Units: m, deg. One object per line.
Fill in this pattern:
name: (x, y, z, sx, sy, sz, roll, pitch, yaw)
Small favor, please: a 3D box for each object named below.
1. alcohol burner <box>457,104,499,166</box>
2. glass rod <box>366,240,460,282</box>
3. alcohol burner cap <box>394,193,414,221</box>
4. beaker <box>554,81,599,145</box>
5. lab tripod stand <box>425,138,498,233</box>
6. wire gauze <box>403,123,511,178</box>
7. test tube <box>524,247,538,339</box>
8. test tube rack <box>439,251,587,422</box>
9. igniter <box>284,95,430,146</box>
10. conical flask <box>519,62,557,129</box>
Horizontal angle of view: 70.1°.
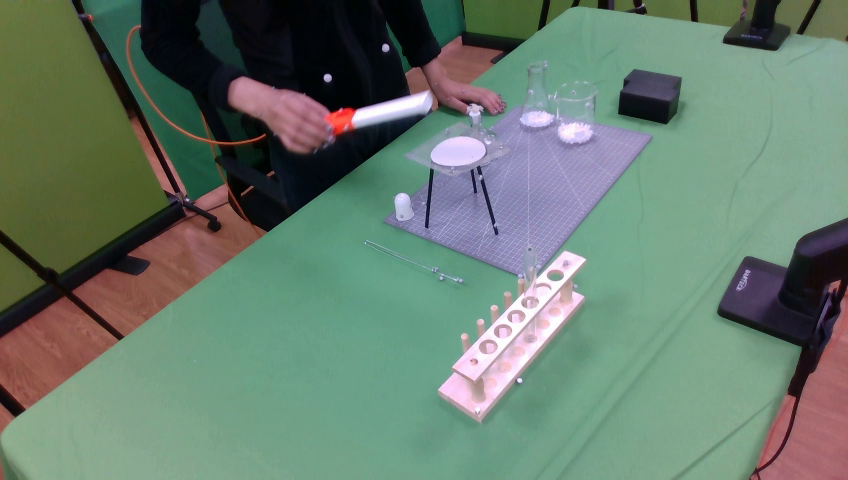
alcohol burner: (0.099, -0.198, 1.124, 0.078, 0.119, 0.077, -5, 38, 4)
glass rod: (-0.022, 0.032, 0.962, 0.198, 0.008, 0.008, 21, 49, 35)
alcohol burner cap: (-0.036, -0.058, 1.040, 0.034, 0.048, 0.033, -5, 41, 5)
beaker: (0.286, -0.237, 1.144, 0.084, 0.101, 0.073, -17, 40, -7)
lab tripod stand: (0.064, -0.091, 0.988, 0.148, 0.132, 0.147, -6, 39, 6)
wire gauze: (0.051, -0.140, 0.943, 0.125, 0.011, 0.120, -30, 43, -24)
test tube: (0.133, 0.070, 0.749, 0.017, 0.151, 0.017, -5, 38, 4)
test tube rack: (0.118, 0.111, 0.780, 0.066, 0.085, 0.243, 26, 51, 35)
igniter: (-0.113, -0.181, 0.931, 0.275, 0.025, 0.057, -6, 43, 32)
conical flask: (0.225, -0.288, 1.198, 0.075, 0.122, 0.075, -6, 40, 5)
